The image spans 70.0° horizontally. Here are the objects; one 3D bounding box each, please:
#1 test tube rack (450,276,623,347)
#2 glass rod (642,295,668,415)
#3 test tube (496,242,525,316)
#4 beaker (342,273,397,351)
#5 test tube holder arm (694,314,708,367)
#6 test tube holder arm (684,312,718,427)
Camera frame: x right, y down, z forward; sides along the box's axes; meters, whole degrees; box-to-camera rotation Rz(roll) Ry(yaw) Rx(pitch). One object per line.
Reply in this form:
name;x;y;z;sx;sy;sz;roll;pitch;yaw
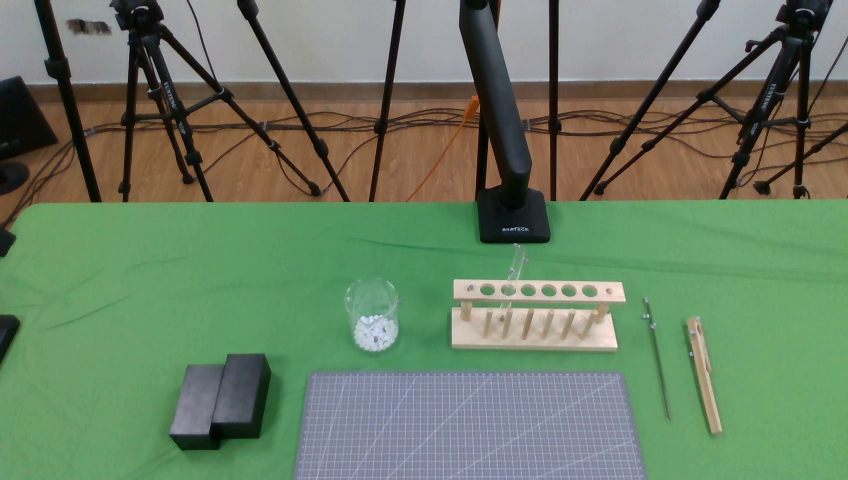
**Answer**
test tube rack;0.160;0.106;0.886;0.242;0.086;0.066;1;50;0
glass rod;0.337;0.163;0.888;0.008;0.008;0.198;4;50;3
test tube;0.121;0.059;0.860;0.017;0.151;0.017;3;46;-3
beaker;-0.076;0.109;0.873;0.074;0.101;0.083;2;51;2
test tube holder arm;0.404;0.149;0.894;0.010;0.015;0.087;24;48;-18
test tube holder arm;0.394;0.181;0.864;0.013;0.015;0.177;24;48;-18
